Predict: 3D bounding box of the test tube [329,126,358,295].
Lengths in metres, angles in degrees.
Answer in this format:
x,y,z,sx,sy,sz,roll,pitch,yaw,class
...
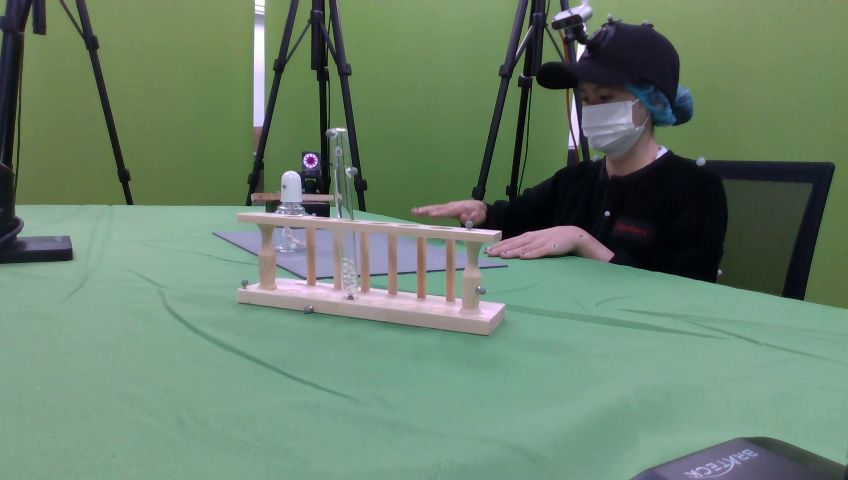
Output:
x,y,z,sx,sy,sz,roll,pitch,yaw,class
-0.071,-0.025,0.535,0.017,0.150,0.017,-3,8,1,test tube

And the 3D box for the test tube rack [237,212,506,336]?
x,y,z,sx,sy,sz,roll,pitch,yaw,class
-0.049,0.024,0.552,0.242,0.085,0.067,5,8,18,test tube rack

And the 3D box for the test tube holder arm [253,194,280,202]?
x,y,z,sx,sy,sz,roll,pitch,yaw,class
-0.297,-0.084,1.202,0.088,0.015,0.010,-3,4,-41,test tube holder arm

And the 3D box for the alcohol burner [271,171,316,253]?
x,y,z,sx,sy,sz,roll,pitch,yaw,class
-0.196,-0.041,0.884,0.078,0.119,0.078,3,5,0,alcohol burner

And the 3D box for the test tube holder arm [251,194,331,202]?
x,y,z,sx,sy,sz,roll,pitch,yaw,class
-0.267,-0.085,1.236,0.179,0.015,0.013,-3,4,-42,test tube holder arm

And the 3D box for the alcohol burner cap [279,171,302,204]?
x,y,z,sx,sy,sz,roll,pitch,yaw,class
-0.195,-0.077,0.880,0.034,0.048,0.034,0,6,0,alcohol burner cap
